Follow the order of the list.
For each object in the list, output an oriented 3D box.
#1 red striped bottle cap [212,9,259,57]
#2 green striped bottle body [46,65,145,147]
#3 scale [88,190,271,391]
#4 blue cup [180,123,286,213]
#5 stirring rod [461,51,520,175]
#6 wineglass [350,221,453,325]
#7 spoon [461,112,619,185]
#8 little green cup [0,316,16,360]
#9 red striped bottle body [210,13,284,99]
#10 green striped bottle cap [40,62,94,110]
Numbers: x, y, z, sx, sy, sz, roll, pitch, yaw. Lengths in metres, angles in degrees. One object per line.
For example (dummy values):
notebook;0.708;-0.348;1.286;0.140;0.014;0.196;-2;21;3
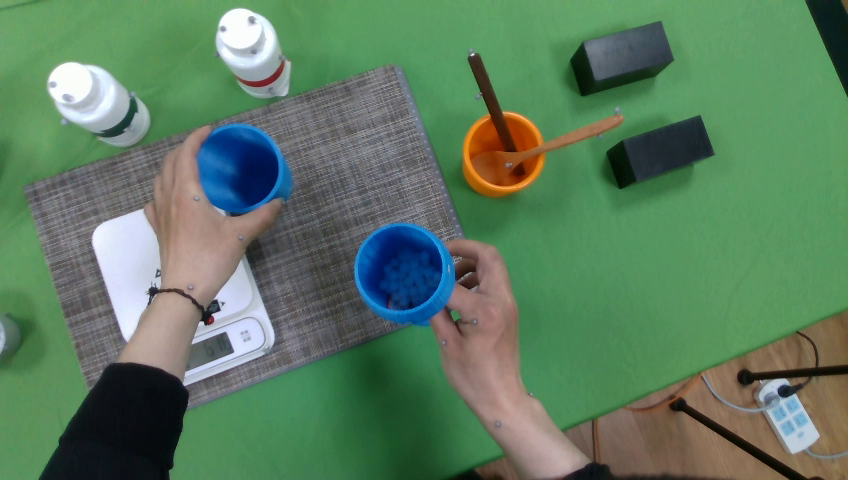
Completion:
red striped bottle cap;-0.191;-0.210;0.613;0.044;0.018;0.044;0;82;-3
green striped bottle body;-0.353;-0.144;0.648;0.063;0.119;0.063;0;84;-4
scale;-0.271;0.054;0.676;0.149;0.031;0.200;-21;87;-6
blue cup;-0.182;-0.065;0.623;0.093;0.100;0.092;0;87;-2
stirring rod;0.076;-0.132;0.663;0.014;0.178;0.005;-6;50;24
wineglass;-0.012;0.033;0.486;0.073;0.173;0.073;-1;80;4
spoon;0.121;-0.101;0.665;0.022;0.193;0.041;-25;97;-49
little green cup;-0.480;0.108;0.655;0.061;0.038;0.061;1;84;-5
red striped bottle body;-0.194;-0.204;0.666;0.063;0.120;0.063;0;84;-4
green striped bottle cap;-0.349;-0.151;0.593;0.044;0.020;0.044;0;84;-2
